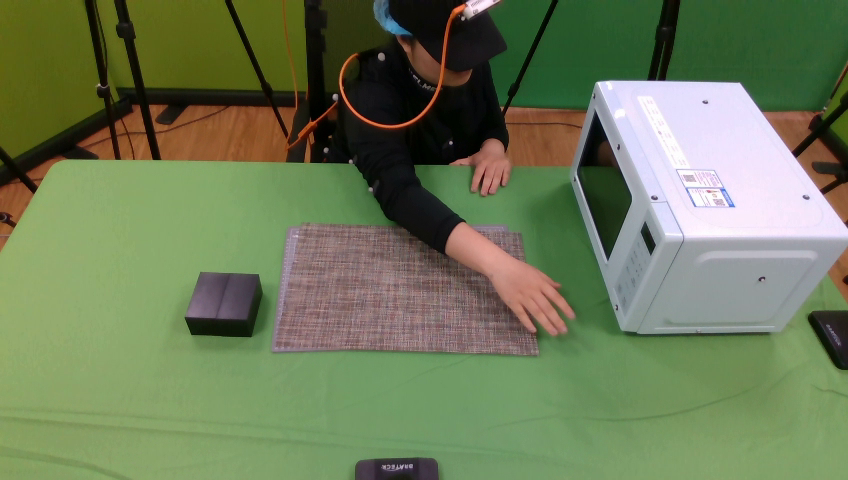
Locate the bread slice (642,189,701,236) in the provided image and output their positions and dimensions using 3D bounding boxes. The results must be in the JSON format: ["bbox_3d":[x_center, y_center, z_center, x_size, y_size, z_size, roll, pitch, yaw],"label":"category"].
[{"bbox_3d":[0.494,-0.056,1.197,0.105,0.019,0.131,6,41,4],"label":"bread slice"}]

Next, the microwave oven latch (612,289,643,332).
[{"bbox_3d":[0.357,0.124,1.068,0.030,0.029,0.078,0,45,-3],"label":"microwave oven latch"}]

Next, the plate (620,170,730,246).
[{"bbox_3d":[0.490,-0.059,1.194,0.209,0.038,0.208,3,46,-3],"label":"plate"}]

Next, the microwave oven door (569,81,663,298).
[{"bbox_3d":[0.353,-0.103,1.147,0.039,0.245,0.353,0,46,-4],"label":"microwave oven door"}]

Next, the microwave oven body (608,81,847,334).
[{"bbox_3d":[0.501,-0.070,1.132,0.326,0.261,0.438,-1,45,-3],"label":"microwave oven body"}]
